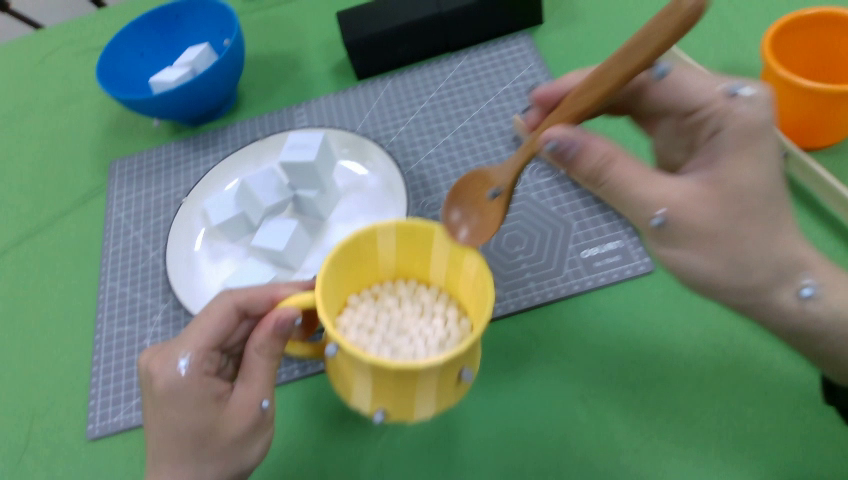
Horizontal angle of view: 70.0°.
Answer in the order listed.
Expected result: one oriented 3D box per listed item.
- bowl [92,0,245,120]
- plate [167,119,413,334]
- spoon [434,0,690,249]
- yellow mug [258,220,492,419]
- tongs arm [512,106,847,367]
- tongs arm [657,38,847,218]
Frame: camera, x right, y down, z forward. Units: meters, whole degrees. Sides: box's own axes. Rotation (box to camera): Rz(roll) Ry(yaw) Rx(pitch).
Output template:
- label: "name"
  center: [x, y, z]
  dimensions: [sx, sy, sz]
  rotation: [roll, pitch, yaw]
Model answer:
- label: "bowl"
  center: [-0.245, -0.177, 0.622]
  dimensions: [0.151, 0.077, 0.150]
  rotation: [-6, 57, 10]
- label: "plate"
  center: [-0.108, -0.013, 0.507]
  dimensions: [0.207, 0.039, 0.205]
  rotation: [-6, 57, 9]
- label: "spoon"
  center: [0.047, -0.041, 0.276]
  dimensions: [0.022, 0.194, 0.041]
  rotation: [-14, 76, -24]
- label: "yellow mug"
  center: [-0.029, 0.047, 0.352]
  dimensions: [0.131, 0.064, 0.099]
  rotation: [-5, 50, -9]
- label: "tongs arm"
  center: [0.204, 0.002, 0.436]
  dimensions: [0.028, 0.028, 0.384]
  rotation: [-38, 59, -17]
- label: "tongs arm"
  center: [0.271, -0.043, 0.446]
  dimensions: [0.051, 0.027, 0.380]
  rotation: [-29, 58, -7]
